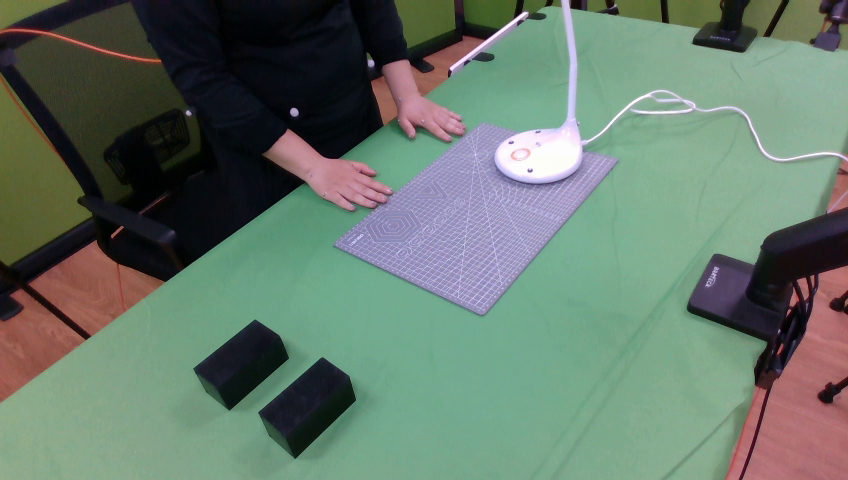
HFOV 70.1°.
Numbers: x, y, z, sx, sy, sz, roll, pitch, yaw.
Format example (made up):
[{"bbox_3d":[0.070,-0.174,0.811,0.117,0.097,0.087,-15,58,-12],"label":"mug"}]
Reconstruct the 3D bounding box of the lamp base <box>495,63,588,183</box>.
[{"bbox_3d":[0.214,-0.217,1.067,0.180,0.181,0.159,-20,42,-18],"label":"lamp base"}]
